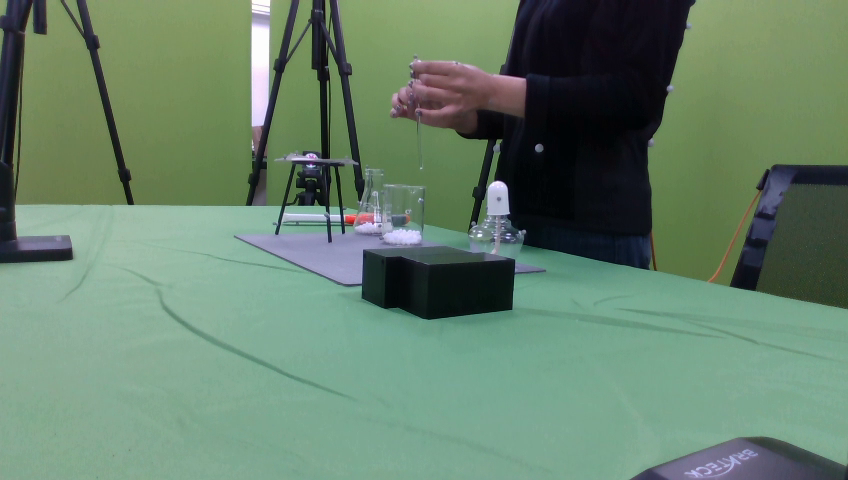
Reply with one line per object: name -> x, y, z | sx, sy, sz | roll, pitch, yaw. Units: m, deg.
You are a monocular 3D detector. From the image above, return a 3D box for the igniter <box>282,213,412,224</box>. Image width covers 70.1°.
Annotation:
igniter -> -0.159, -0.046, 1.287 | 0.278, 0.025, 0.057 | -1, -2, -22

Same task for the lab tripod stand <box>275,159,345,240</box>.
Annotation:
lab tripod stand -> -0.181, -0.072, 1.039 | 0.148, 0.131, 0.148 | 4, 8, 0

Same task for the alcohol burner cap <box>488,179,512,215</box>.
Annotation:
alcohol burner cap -> 0.101, -0.058, 0.816 | 0.034, 0.048, 0.034 | -5, 8, 1

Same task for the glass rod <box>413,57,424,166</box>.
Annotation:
glass rod -> -0.008, -0.214, 1.027 | 0.008, 0.200, 0.008 | -3, 37, 2

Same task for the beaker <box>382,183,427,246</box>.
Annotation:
beaker -> -0.032, -0.044, 1.008 | 0.074, 0.100, 0.084 | 6, 7, 22

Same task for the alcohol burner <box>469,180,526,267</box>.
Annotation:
alcohol burner -> 0.101, -0.022, 0.821 | 0.078, 0.119, 0.078 | 4, 8, 0

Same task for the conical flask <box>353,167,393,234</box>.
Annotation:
conical flask -> -0.094, -0.074, 1.126 | 0.075, 0.122, 0.075 | 2, 7, 0

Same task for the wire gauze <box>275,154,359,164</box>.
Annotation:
wire gauze -> -0.179, -0.137, 1.028 | 0.121, 0.011, 0.125 | 4, 8, 0
